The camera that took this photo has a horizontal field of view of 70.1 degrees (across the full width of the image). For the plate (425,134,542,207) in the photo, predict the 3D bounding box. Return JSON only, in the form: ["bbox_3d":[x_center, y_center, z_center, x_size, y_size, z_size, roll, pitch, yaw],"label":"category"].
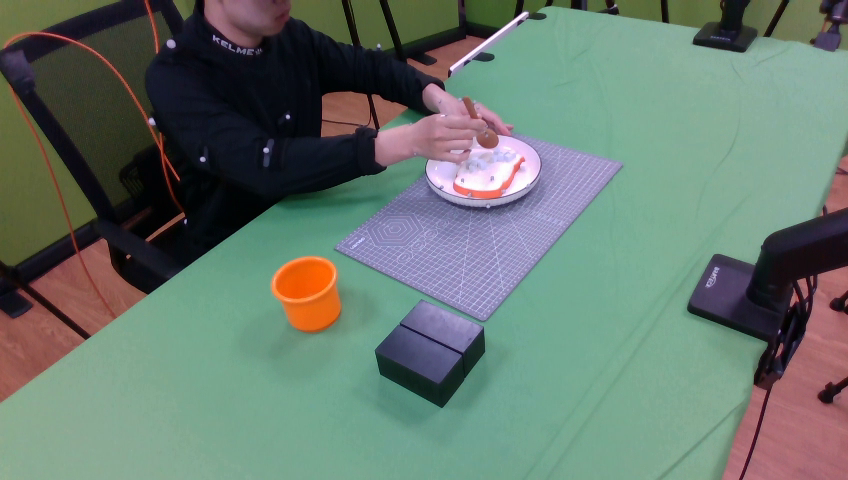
[{"bbox_3d":[0.106,-0.121,1.079,0.209,0.038,0.208,-4,40,4],"label":"plate"}]

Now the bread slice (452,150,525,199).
[{"bbox_3d":[0.112,-0.119,1.079,0.104,0.019,0.131,11,43,21],"label":"bread slice"}]

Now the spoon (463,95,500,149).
[{"bbox_3d":[0.095,-0.198,1.027,0.041,0.195,0.021,-1,79,17],"label":"spoon"}]
